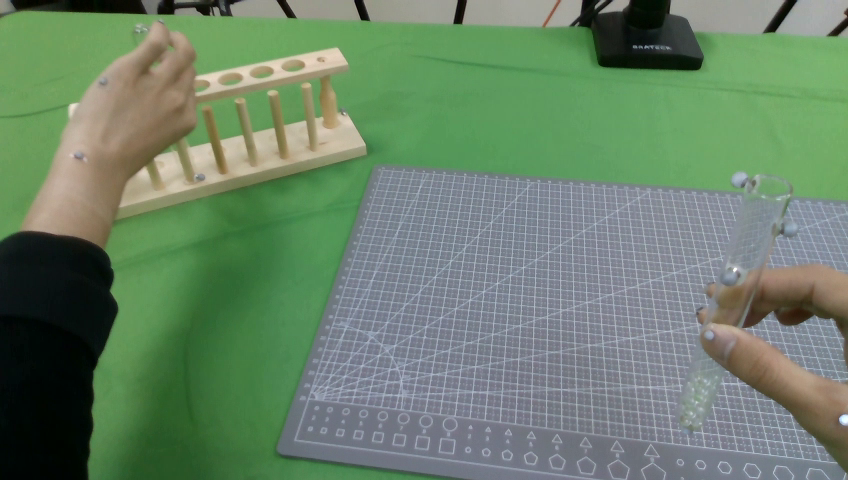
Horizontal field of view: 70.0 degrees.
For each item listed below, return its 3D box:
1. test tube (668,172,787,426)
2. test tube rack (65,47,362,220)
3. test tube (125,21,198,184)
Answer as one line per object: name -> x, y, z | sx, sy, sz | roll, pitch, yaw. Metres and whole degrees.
test tube -> 0.129, 0.036, 0.267 | 0.017, 0.151, 0.017 | -3, 40, 3
test tube rack -> -0.186, -0.103, 0.564 | 0.243, 0.086, 0.066 | -17, 48, -16
test tube -> -0.218, -0.110, 0.509 | 0.017, 0.152, 0.017 | -1, 43, 1
